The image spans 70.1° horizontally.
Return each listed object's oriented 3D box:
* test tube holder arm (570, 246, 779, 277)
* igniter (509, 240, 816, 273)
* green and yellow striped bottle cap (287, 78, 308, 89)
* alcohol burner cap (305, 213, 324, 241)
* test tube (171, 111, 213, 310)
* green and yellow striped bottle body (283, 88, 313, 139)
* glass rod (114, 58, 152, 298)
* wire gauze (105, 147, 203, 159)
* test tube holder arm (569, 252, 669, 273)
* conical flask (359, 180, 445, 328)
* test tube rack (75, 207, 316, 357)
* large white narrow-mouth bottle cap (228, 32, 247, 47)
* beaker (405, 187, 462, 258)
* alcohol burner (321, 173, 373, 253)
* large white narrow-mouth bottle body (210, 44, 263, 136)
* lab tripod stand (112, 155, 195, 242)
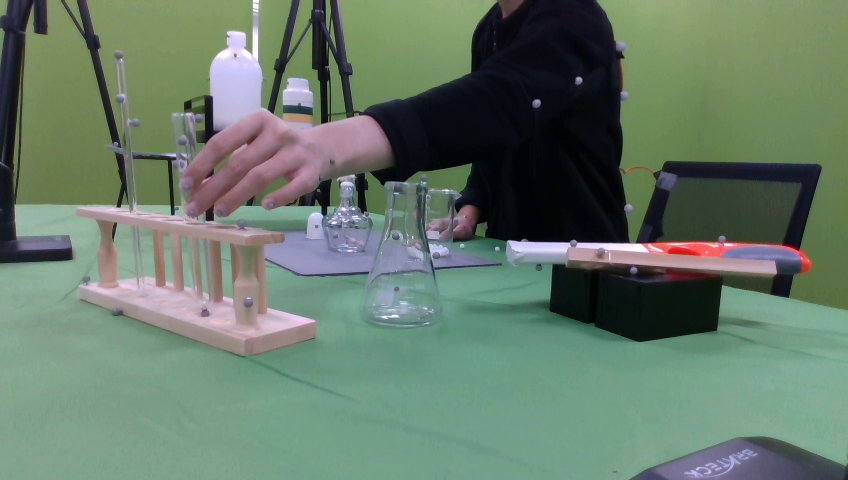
[{"bbox_3d":[0.217,0.020,0.525,0.178,0.015,0.013,3,-24,2],"label":"test tube holder arm"},{"bbox_3d":[0.220,0.015,0.565,0.277,0.025,0.057,2,17,0],"label":"igniter"},{"bbox_3d":[-0.265,-0.326,1.268,0.045,0.020,0.045,4,6,0],"label":"green and yellow striped bottle cap"},{"bbox_3d":[-0.185,-0.023,1.027,0.034,0.048,0.034,3,7,0],"label":"alcohol burner cap"},{"bbox_3d":[-0.173,-0.020,0.452,0.017,0.150,0.017,-2,12,1],"label":"test tube"},{"bbox_3d":[-0.266,-0.275,1.275,0.063,0.119,0.063,3,7,0],"label":"green and yellow striped bottle body"},{"bbox_3d":[-0.236,-0.044,0.492,0.008,0.199,0.008,0,16,0],"label":"glass rod"},{"bbox_3d":[-0.408,-0.131,0.929,0.125,0.011,0.121,2,6,-11],"label":"wire gauze"},{"bbox_3d":[0.172,0.019,0.532,0.088,0.015,0.010,3,-24,3],"label":"test tube holder arm"},{"bbox_3d":[-0.017,0.010,0.522,0.075,0.122,0.075,2,7,0],"label":"conical flask"},{"bbox_3d":[-0.197,0.023,0.499,0.241,0.085,0.067,8,9,36],"label":"test tube rack"},{"bbox_3d":[-0.364,-0.390,1.180,0.038,0.024,0.037,4,8,0],"label":"large white narrow-mouth bottle cap"},{"bbox_3d":[0.013,-0.026,0.892,0.084,0.100,0.074,2,8,-2],"label":"beaker"},{"bbox_3d":[-0.115,-0.040,0.905,0.078,0.119,0.078,0,6,0],"label":"alcohol burner"},{"bbox_3d":[-0.369,-0.305,1.193,0.102,0.194,0.102,3,8,0],"label":"large white narrow-mouth bottle body"},{"bbox_3d":[-0.405,-0.064,0.931,0.148,0.131,0.148,1,6,0],"label":"lab tripod stand"}]
